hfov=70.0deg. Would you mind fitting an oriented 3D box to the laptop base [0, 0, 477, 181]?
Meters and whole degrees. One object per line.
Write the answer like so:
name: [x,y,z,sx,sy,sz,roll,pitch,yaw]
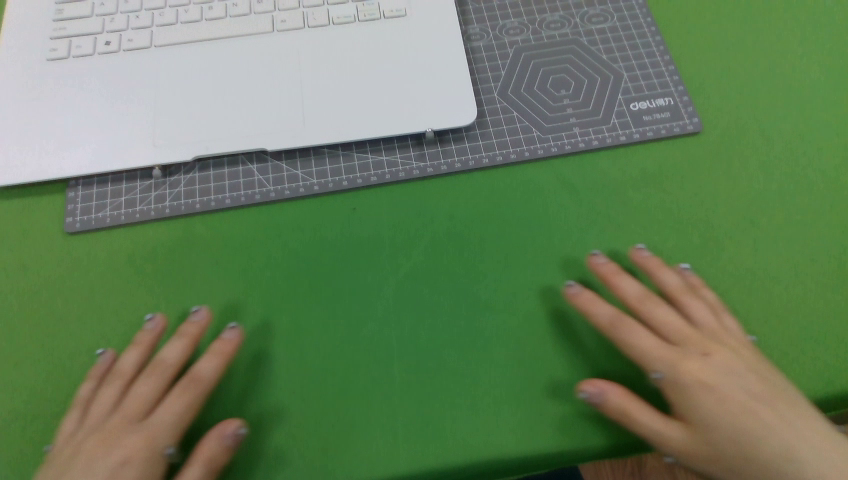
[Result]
laptop base: [-0.151,-0.165,0.471,0.354,0.023,0.233,-8,69,-3]
